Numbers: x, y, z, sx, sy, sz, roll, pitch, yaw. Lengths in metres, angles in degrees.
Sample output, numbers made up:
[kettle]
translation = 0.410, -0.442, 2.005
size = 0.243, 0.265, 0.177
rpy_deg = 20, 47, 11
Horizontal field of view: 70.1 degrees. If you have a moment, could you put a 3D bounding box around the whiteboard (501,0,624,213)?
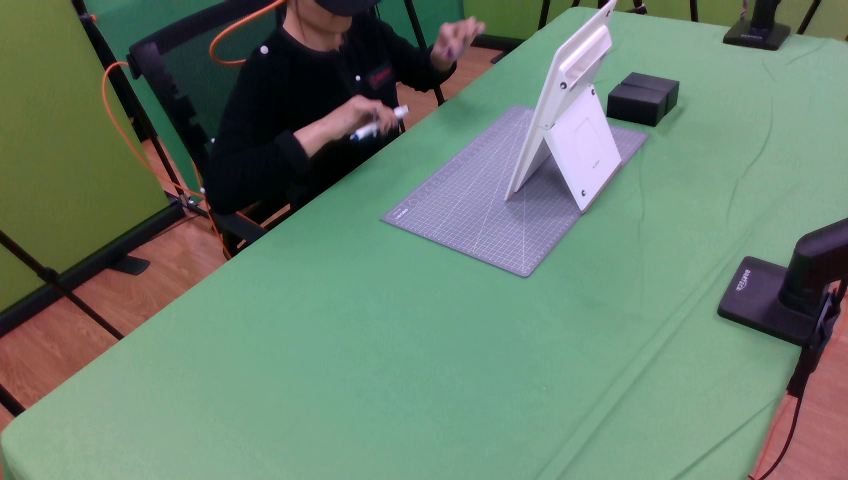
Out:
[whiteboard]
translation = 0.271, -0.189, 0.977
size = 0.143, 0.306, 0.218
rpy_deg = 34, 53, 16

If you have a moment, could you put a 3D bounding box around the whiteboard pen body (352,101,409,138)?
[whiteboard pen body]
translation = -0.079, -0.229, 1.132
size = 0.017, 0.017, 0.141
rpy_deg = 28, 53, 36

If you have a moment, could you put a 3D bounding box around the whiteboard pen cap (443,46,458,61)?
[whiteboard pen cap]
translation = 0.053, -0.383, 1.243
size = 0.033, 0.018, 0.018
rpy_deg = -43, 50, -20
